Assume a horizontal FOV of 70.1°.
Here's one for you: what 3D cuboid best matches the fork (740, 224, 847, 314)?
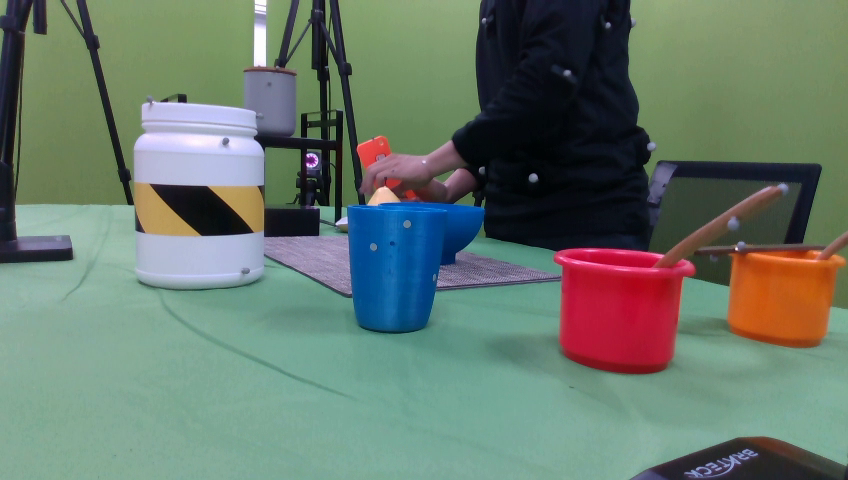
[{"bbox_3d":[0.323,0.013,0.485,0.028,0.018,0.207,9,-38,-5],"label":"fork"}]

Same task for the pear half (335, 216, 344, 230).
[{"bbox_3d":[-0.137,-0.034,1.176,0.071,0.031,0.087,-16,6,-23],"label":"pear half"}]

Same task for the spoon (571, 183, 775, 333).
[{"bbox_3d":[0.160,0.020,0.413,0.042,0.021,0.193,0,-36,-23],"label":"spoon"}]

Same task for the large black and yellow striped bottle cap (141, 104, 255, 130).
[{"bbox_3d":[-0.241,-0.131,0.650,0.115,0.019,0.115,3,8,0],"label":"large black and yellow striped bottle cap"}]

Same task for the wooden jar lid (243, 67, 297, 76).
[{"bbox_3d":[-0.319,-0.342,1.254,0.108,0.020,0.108,3,8,0],"label":"wooden jar lid"}]

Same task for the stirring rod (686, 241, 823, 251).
[{"bbox_3d":[0.289,0.005,0.525,0.177,0.006,0.014,-1,6,-26],"label":"stirring rod"}]

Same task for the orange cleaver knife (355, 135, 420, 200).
[{"bbox_3d":[-0.065,-0.122,1.242,0.077,0.212,0.012,-43,29,-17],"label":"orange cleaver knife"}]

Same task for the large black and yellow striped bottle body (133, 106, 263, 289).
[{"bbox_3d":[-0.243,-0.048,0.659,0.131,0.184,0.130,2,7,0],"label":"large black and yellow striped bottle body"}]

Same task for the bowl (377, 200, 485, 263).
[{"bbox_3d":[0.008,-0.012,0.842,0.151,0.077,0.151,3,8,0],"label":"bowl"}]

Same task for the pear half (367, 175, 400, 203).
[{"bbox_3d":[-0.064,-0.061,1.077,0.055,0.110,0.077,9,14,40],"label":"pear half"}]

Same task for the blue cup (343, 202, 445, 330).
[{"bbox_3d":[-0.027,0.021,0.510,0.093,0.100,0.092,3,5,0],"label":"blue cup"}]

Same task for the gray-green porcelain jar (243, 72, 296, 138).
[{"bbox_3d":[-0.322,-0.279,1.263,0.106,0.126,0.106,3,8,0],"label":"gray-green porcelain jar"}]
